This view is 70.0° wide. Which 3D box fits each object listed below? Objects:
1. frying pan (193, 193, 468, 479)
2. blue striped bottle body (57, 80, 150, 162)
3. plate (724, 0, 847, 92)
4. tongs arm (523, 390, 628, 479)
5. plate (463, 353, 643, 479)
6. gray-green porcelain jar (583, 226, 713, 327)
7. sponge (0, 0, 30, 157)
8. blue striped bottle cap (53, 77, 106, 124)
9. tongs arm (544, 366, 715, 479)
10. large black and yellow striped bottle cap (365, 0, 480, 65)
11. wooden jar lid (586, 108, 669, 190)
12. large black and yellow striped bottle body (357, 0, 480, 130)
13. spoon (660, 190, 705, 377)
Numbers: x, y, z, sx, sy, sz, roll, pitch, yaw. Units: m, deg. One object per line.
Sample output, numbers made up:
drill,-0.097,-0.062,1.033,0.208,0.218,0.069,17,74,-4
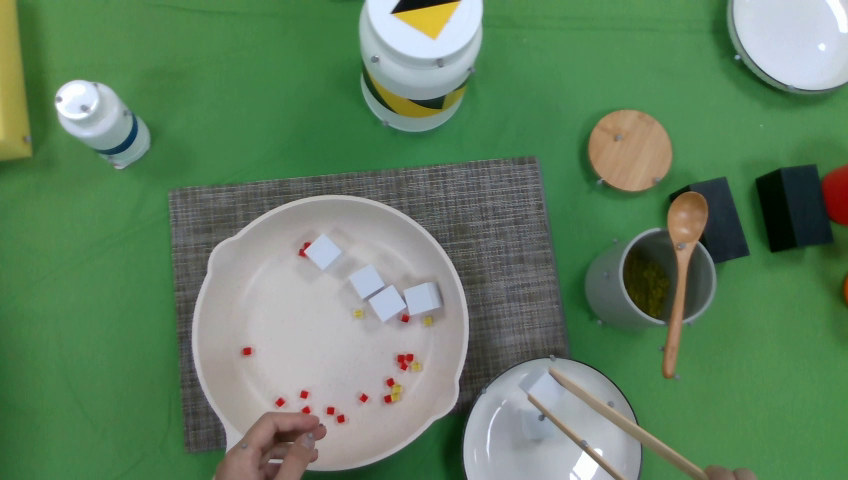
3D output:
frying pan,-0.155,0.177,0.642,0.306,0.103,0.486,34,71,1
blue striped bottle body,-0.354,-0.133,0.666,0.063,0.121,0.063,1,80,-5
plate,0.501,-0.295,0.818,0.209,0.038,0.208,1,81,-5
tongs arm,0.243,0.248,0.528,0.051,0.027,0.381,-38,55,-18
plate,0.146,0.234,0.698,0.208,0.039,0.207,1,83,-6
gray-green porcelain jar,0.248,0.046,0.695,0.106,0.127,0.105,1,80,-5
sponge,-0.537,-0.195,0.688,0.118,0.061,0.206,-11,83,-8
blue striped bottle cap,-0.350,-0.142,0.616,0.044,0.020,0.044,1,82,-6
tongs arm,0.260,0.233,0.536,0.028,0.028,0.384,-40,56,-24
large black and yellow striped bottle cap,-0.001,-0.231,0.600,0.115,0.019,0.114,1,82,-5
wooden jar lid,0.258,-0.115,0.776,0.108,0.021,0.108,1,82,-5
large black and yellow striped bottle body,-0.009,-0.215,0.682,0.131,0.184,0.130,1,80,-5
spoon,0.261,0.045,0.625,0.042,0.021,0.193,10,84,-6
